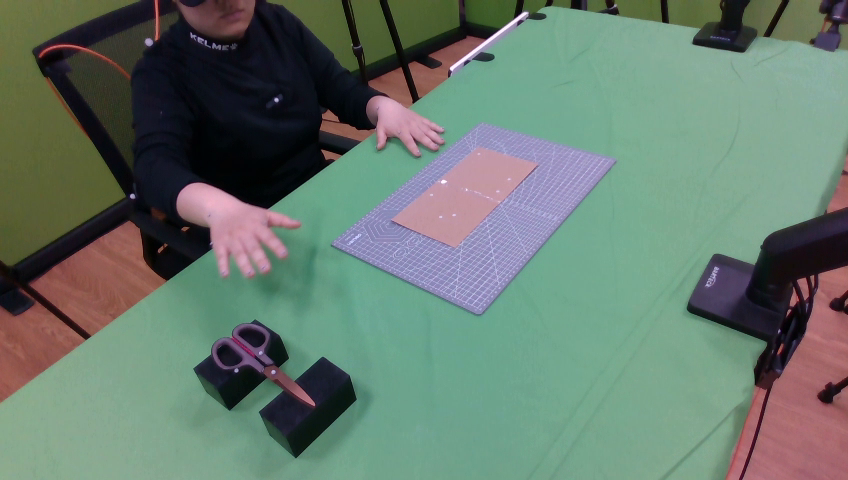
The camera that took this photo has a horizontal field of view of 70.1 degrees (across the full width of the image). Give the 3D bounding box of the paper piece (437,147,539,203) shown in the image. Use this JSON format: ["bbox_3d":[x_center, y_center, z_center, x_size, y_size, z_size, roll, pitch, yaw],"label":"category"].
[{"bbox_3d":[0.117,-0.122,1.104,0.135,0.009,0.138,26,49,29],"label":"paper piece"}]

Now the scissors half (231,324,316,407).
[{"bbox_3d":[-0.185,0.153,0.748,0.040,0.013,0.173,-32,48,-27],"label":"scissors half"}]

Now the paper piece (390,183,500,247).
[{"bbox_3d":[0.037,-0.048,1.027,0.134,0.004,0.136,24,48,30],"label":"paper piece"}]

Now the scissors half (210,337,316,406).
[{"bbox_3d":[-0.198,0.163,0.736,0.174,0.013,0.040,20,42,25],"label":"scissors half"}]
